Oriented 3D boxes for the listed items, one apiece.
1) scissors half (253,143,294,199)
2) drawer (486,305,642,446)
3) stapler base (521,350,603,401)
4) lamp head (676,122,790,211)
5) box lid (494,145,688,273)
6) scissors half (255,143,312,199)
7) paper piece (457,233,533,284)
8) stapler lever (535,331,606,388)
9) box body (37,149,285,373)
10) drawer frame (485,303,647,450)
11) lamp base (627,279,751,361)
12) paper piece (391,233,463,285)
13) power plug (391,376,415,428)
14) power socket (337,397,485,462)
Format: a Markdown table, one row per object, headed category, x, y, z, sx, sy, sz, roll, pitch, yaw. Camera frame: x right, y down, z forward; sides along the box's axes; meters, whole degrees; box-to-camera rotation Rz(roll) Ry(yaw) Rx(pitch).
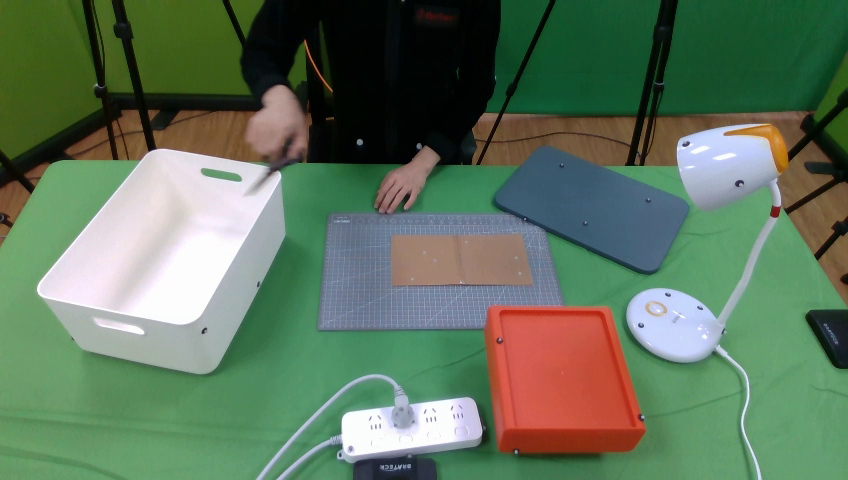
| category | x | y | z | sx | sy | sz | roll | pitch | yaw |
| --- | --- | --- | --- | --- | --- | --- | --- | --- | --- |
| scissors half | -0.238 | -0.109 | 0.942 | 0.040 | 0.013 | 0.174 | -6 | 34 | 7 |
| drawer | 0.202 | 0.200 | 0.919 | 0.195 | 0.073 | 0.210 | 2 | 47 | -4 |
| stapler base | 0.217 | 0.203 | 0.942 | 0.130 | 0.024 | 0.041 | 26 | 33 | 16 |
| lamp head | 0.423 | -0.104 | 0.819 | 0.122 | 0.113 | 0.112 | -13 | 33 | 40 |
| box lid | 0.360 | -0.081 | 1.311 | 0.370 | 0.015 | 0.263 | 27 | 49 | 20 |
| scissors half | -0.218 | -0.108 | 0.938 | 0.040 | 0.013 | 0.174 | 8 | 37 | 17 |
| paper piece | 0.136 | 0.035 | 1.182 | 0.136 | 0.009 | 0.137 | 2 | 45 | -6 |
| stapler lever | 0.225 | 0.181 | 0.928 | 0.118 | 0.040 | 0.027 | 27 | 34 | 15 |
| box body | -0.414 | 0.029 | 1.040 | 0.254 | 0.161 | 0.362 | 10 | 46 | 5 |
| drawer frame | 0.204 | 0.202 | 0.917 | 0.202 | 0.083 | 0.212 | 1 | 47 | -4 |
| lamp base | 0.460 | 0.100 | 1.027 | 0.178 | 0.181 | 0.160 | 27 | 51 | 17 |
| paper piece | 0.004 | 0.035 | 1.170 | 0.135 | 0.004 | 0.135 | 1 | 46 | -4 |
| power plug | -0.030 | 0.249 | 0.917 | 0.035 | 0.053 | 0.072 | 3 | 46 | 0 |
| power socket | -0.018 | 0.285 | 0.915 | 0.227 | 0.033 | 0.071 | -4 | 46 | -8 |
